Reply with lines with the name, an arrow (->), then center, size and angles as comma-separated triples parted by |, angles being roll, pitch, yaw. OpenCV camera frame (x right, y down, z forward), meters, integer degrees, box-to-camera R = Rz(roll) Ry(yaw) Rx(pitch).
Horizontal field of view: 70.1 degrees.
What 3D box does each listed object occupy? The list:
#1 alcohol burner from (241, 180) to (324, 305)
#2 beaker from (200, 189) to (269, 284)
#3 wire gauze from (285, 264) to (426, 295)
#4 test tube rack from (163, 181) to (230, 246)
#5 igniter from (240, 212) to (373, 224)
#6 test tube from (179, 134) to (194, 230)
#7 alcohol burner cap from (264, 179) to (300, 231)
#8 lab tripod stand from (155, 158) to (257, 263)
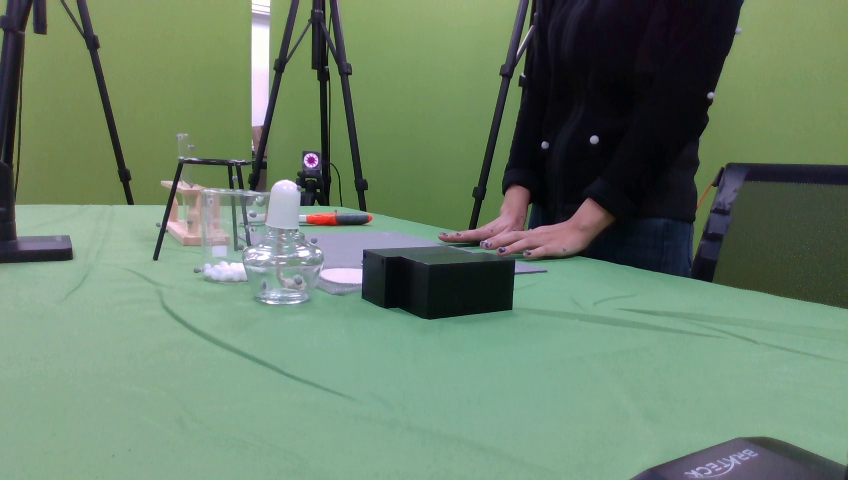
alcohol burner -> -0.136, 0.002, 0.583 | 0.078, 0.119, 0.078 | 1, 8, 0
beaker -> -0.209, -0.006, 0.676 | 0.073, 0.100, 0.084 | 7, 8, 28
wire gauze -> -0.079, 0.039, 0.692 | 0.122, 0.011, 0.124 | -4, 11, -37
test tube rack -> -0.387, -0.050, 1.015 | 0.067, 0.085, 0.241 | -2, 9, -30
igniter -> -0.237, -0.045, 1.250 | 0.278, 0.025, 0.057 | -2, -2, -31
test tube -> -0.366, -0.089, 0.938 | 0.017, 0.150, 0.017 | -1, 9, 1
alcohol burner cap -> -0.134, -0.034, 0.579 | 0.034, 0.048, 0.034 | 9, 10, -1
lab tripod stand -> -0.275, -0.041, 0.797 | 0.148, 0.131, 0.148 | 2, 9, 0
